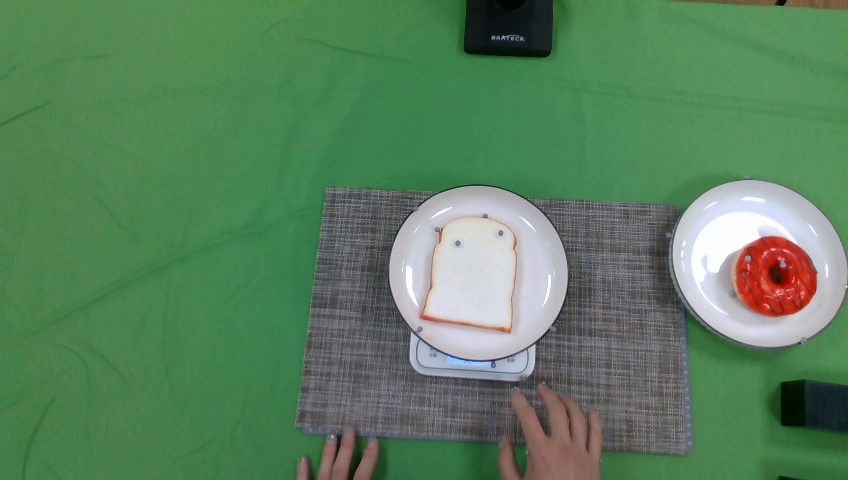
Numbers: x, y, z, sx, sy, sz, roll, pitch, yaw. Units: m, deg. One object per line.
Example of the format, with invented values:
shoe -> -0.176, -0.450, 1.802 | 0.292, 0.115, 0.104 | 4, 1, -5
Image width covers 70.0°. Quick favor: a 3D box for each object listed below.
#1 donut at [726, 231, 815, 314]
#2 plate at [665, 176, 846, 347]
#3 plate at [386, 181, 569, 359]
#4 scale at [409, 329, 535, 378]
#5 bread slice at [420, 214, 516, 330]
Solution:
donut -> 0.408, 0.039, 0.715 | 0.099, 0.048, 0.098 | 0, 79, 0
plate -> 0.392, 0.026, 0.731 | 0.207, 0.039, 0.206 | 0, 75, 1
plate -> 0.061, 0.034, 0.702 | 0.209, 0.038, 0.208 | 0, 75, 1
scale -> 0.061, 0.061, 0.729 | 0.148, 0.032, 0.200 | 4, 75, 3
bread slice -> 0.055, 0.032, 0.705 | 0.105, 0.019, 0.131 | 7, 76, 2
